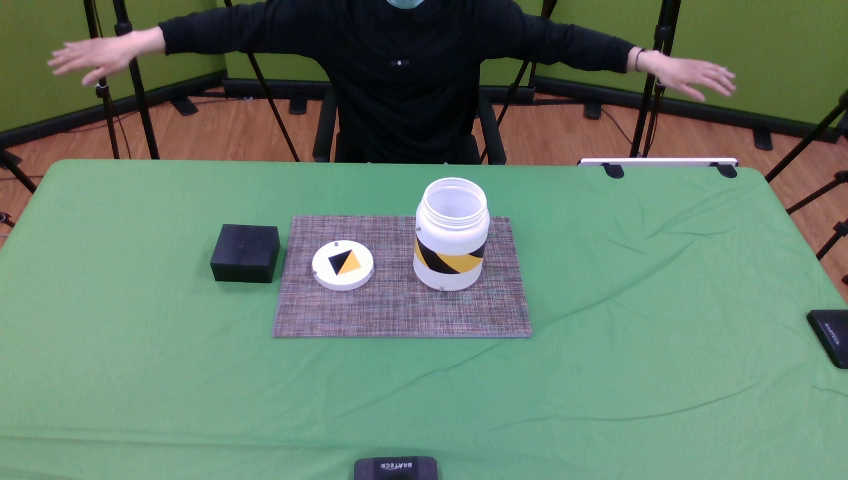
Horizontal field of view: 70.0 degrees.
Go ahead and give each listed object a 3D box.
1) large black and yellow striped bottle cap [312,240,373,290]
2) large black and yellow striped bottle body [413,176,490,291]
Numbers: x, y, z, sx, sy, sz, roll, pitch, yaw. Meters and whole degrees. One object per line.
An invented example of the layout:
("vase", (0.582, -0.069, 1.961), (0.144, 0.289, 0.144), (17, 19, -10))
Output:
("large black and yellow striped bottle cap", (-0.153, 0.046, 1.140), (0.115, 0.019, 0.114), (3, 47, -3))
("large black and yellow striped bottle body", (0.049, -0.011, 1.091), (0.131, 0.185, 0.130), (2, 46, -2))
